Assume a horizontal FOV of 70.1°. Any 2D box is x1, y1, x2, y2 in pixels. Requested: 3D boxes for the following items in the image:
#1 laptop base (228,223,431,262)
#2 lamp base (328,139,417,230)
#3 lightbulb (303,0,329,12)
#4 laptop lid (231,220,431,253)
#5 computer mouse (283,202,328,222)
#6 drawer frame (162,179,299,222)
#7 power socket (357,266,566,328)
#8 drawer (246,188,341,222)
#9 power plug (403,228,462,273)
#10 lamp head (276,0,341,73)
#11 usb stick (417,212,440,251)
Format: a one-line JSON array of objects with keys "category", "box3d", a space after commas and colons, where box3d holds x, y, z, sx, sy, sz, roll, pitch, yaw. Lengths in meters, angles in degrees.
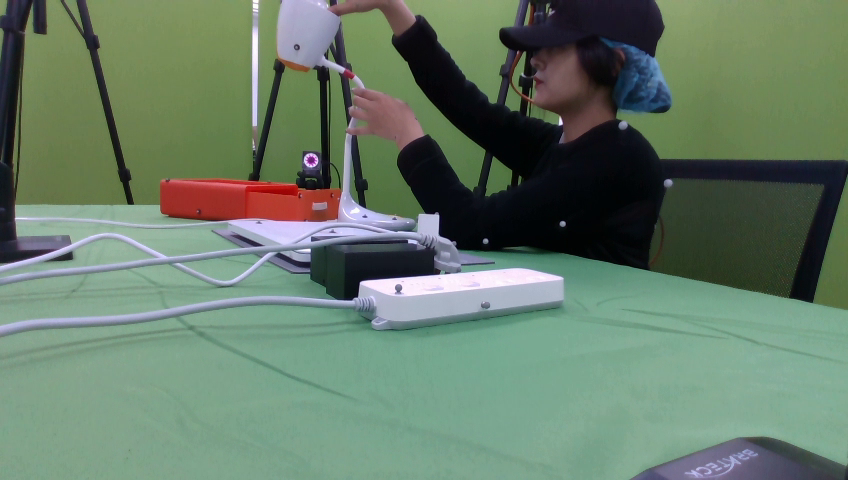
[{"category": "laptop base", "box3d": [-0.145, 0.003, 0.942, 0.237, 0.023, 0.352, 2, 6, -32]}, {"category": "lamp base", "box3d": [-0.104, -0.113, 1.211, 0.180, 0.180, 0.160, -3, 7, -13]}, {"category": "lightbulb", "box3d": [-0.212, -0.394, 1.113, 0.059, 0.107, 0.059, 19, 13, -4]}, {"category": "laptop lid", "box3d": [-0.142, -0.009, 0.942, 0.243, 0.013, 0.355, 1, 7, -31]}, {"category": "computer mouse", "box3d": [-0.251, -0.060, 1.287, 0.063, 0.041, 0.117, 3, 4, 11]}, {"category": "drawer frame", "box3d": [-0.418, -0.089, 1.328, 0.213, 0.082, 0.202, 4, 8, 18]}, {"category": "power socket", "box3d": [0.042, 0.049, 0.573, 0.228, 0.032, 0.072, -3, 8, -34]}, {"category": "drawer", "box3d": [-0.312, -0.078, 1.296, 0.211, 0.073, 0.195, 4, 8, 17]}, {"category": "power plug", "box3d": [0.006, 0.016, 0.647, 0.073, 0.052, 0.035, 18, 12, -6]}, {"category": "lamp head", "box3d": [-0.222, -0.374, 1.124, 0.112, 0.123, 0.112, 16, 11, -3]}, {"category": "usb stick", "box3d": [0.005, -0.003, 0.721, 0.027, 0.059, 0.021, 1, -3, -3]}]
